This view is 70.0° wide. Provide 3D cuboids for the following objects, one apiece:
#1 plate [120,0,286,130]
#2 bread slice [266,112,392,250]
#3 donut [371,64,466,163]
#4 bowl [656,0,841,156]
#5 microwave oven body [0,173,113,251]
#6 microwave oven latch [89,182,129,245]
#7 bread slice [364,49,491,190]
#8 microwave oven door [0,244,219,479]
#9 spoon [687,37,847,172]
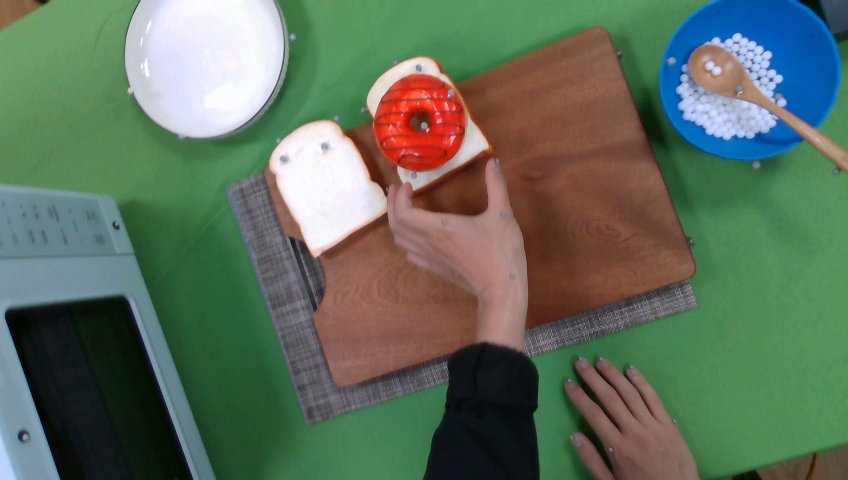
[{"bbox_3d":[-0.254,-0.231,0.708,0.207,0.039,0.207,0,92,12],"label":"plate"},{"bbox_3d":[-0.112,-0.069,0.661,0.107,0.018,0.134,-34,84,10],"label":"bread slice"},{"bbox_3d":[-0.006,-0.126,0.608,0.099,0.048,0.099,0,92,12],"label":"donut"},{"bbox_3d":[0.292,-0.149,0.571,0.151,0.077,0.151,0,92,12],"label":"bowl"},{"bbox_3d":[-0.476,0.191,0.650,0.326,0.260,0.441,-22,87,11],"label":"microwave oven body"},{"bbox_3d":[-0.383,-0.029,0.723,0.030,0.029,0.079,-21,88,11],"label":"microwave oven latch"},{"bbox_3d":[-0.006,-0.132,0.637,0.105,0.019,0.131,-29,84,10],"label":"bread slice"},{"bbox_3d":[-0.329,0.177,0.613,0.039,0.244,0.355,-22,87,12],"label":"microwave oven door"},{"bbox_3d":[0.312,-0.116,0.536,0.041,0.022,0.192,-46,64,14],"label":"spoon"}]
